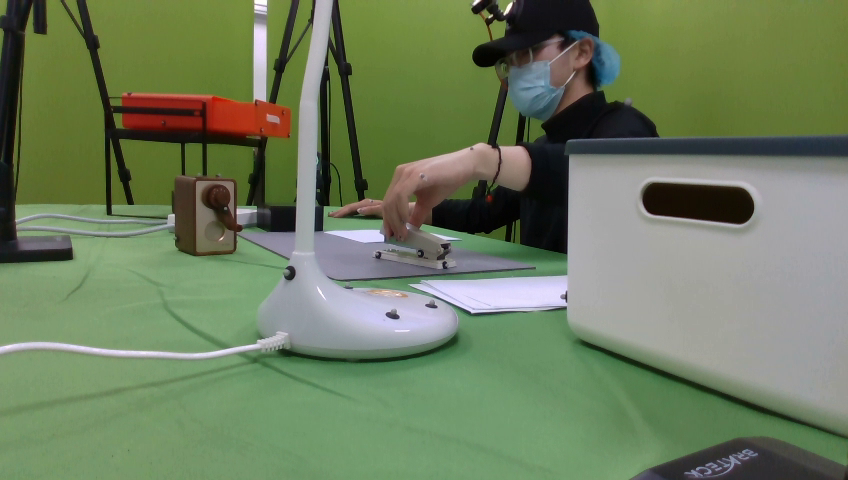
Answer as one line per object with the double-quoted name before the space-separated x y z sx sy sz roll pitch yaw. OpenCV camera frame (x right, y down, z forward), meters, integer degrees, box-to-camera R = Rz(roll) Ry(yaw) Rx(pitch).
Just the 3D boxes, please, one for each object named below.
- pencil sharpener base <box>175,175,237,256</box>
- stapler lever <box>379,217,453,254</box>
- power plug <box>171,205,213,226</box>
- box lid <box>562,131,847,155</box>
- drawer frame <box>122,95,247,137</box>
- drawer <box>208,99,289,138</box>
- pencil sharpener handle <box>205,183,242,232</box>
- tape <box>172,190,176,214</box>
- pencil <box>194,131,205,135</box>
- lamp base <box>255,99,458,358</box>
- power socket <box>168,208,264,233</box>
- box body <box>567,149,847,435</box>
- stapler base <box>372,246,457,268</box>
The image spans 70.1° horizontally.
"pencil sharpener base" -0.304 -0.036 0.847 0.062 0.107 0.076 -4 10 -42
"stapler lever" -0.014 -0.007 0.827 0.117 0.040 0.027 10 12 39
"power plug" -0.455 -0.040 1.196 0.052 0.035 0.072 1 43 24
"box lid" 0.322 -0.064 0.463 0.373 0.015 0.262 -2 9 -31
"drawer frame" -0.526 -0.281 1.376 0.213 0.082 0.202 3 8 8
"drawer" -0.434 -0.273 1.364 0.211 0.073 0.195 2 8 9
"pencil sharpener handle" -0.265 -0.043 0.812 0.036 0.068 0.030 -31 27 -35
"tape" -0.516 -0.086 1.389 0.117 0.052 0.117 4 7 0
"pencil" -0.425 -0.252 1.347 0.012 0.012 0.195 8 21 38
"lamp base" -0.056 -0.013 0.462 0.160 0.180 0.180 6 11 27
"power socket" -0.381 -0.038 1.129 0.072 0.032 0.227 4 8 17
"box body" 0.318 0.009 0.471 0.366 0.160 0.253 -2 8 -31
"stapler base" -0.016 0.017 0.831 0.130 0.024 0.041 10 13 39
